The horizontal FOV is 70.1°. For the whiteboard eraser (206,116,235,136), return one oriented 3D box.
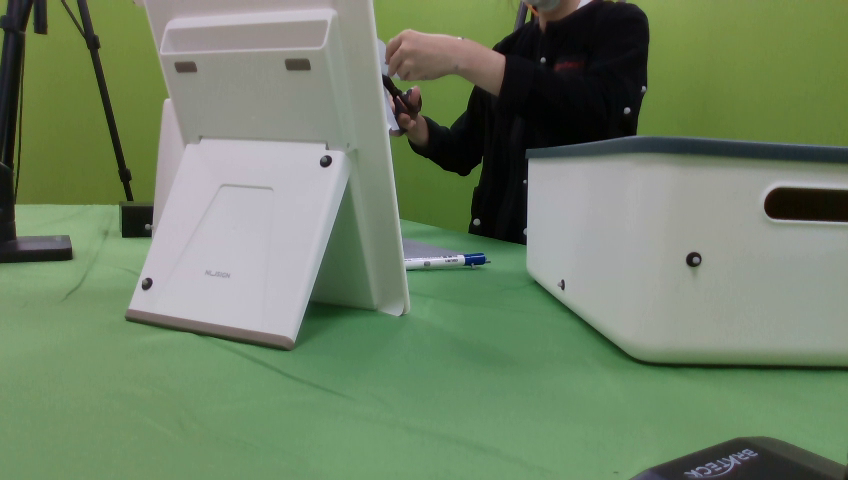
[{"bbox_3d":[-0.450,-0.252,1.335,0.056,0.042,0.112,1,7,-22],"label":"whiteboard eraser"}]

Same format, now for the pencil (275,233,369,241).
[{"bbox_3d":[-0.169,-0.006,1.036,0.195,0.012,0.012,-2,9,-45],"label":"pencil"}]

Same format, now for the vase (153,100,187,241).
[{"bbox_3d":[-0.278,-0.066,0.736,0.098,0.200,0.098,2,9,0],"label":"vase"}]

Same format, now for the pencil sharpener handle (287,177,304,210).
[{"bbox_3d":[-0.269,-0.096,1.257,0.036,0.067,0.030,-8,8,-27],"label":"pencil sharpener handle"}]

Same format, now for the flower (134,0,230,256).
[{"bbox_3d":[-0.282,-0.147,0.713,0.038,0.362,0.044,-23,24,-31],"label":"flower"}]

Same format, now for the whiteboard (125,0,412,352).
[{"bbox_3d":[-0.151,-0.049,0.472,0.216,0.305,0.144,6,27,24],"label":"whiteboard"}]

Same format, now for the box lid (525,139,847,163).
[{"bbox_3d":[0.261,-0.078,0.580,0.264,0.015,0.371,2,7,-4],"label":"box lid"}]

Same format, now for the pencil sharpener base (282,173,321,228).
[{"bbox_3d":[-0.247,-0.080,1.212,0.061,0.107,0.076,-2,5,-28],"label":"pencil sharpener base"}]

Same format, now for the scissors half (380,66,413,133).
[{"bbox_3d":[-0.054,-0.245,1.061,0.012,0.040,0.176,25,-20,27],"label":"scissors half"}]

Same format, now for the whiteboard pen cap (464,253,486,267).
[{"bbox_3d":[0.066,0.027,0.818,0.033,0.018,0.018,-6,10,-24],"label":"whiteboard pen cap"}]

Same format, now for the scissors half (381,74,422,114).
[{"bbox_3d":[-0.044,-0.264,1.064,0.013,0.040,0.176,20,2,26],"label":"scissors half"}]

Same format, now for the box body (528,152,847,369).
[{"bbox_3d":[0.257,-0.005,0.591,0.254,0.160,0.363,2,7,-4],"label":"box body"}]

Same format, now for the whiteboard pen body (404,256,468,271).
[{"bbox_3d":[0.013,0.030,0.792,0.141,0.017,0.017,-2,9,-24],"label":"whiteboard pen body"}]
